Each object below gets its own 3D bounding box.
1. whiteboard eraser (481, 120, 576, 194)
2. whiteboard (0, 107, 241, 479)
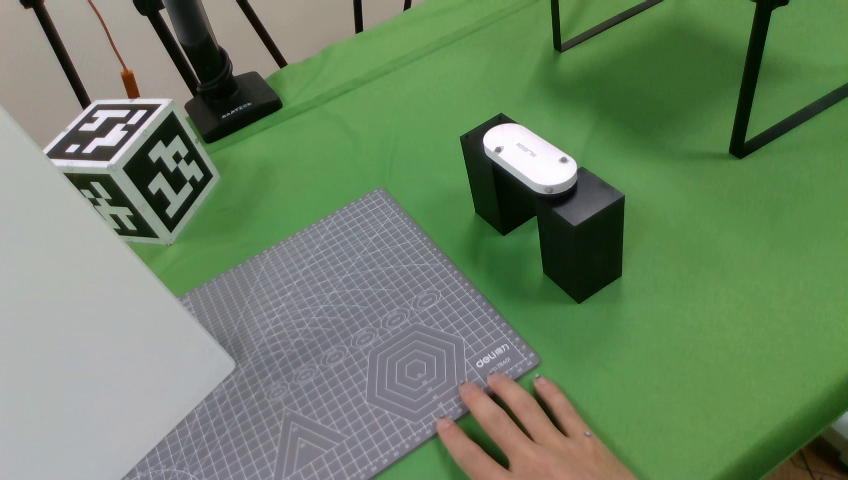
[{"bbox_3d":[0.087,-0.073,0.516,0.041,0.019,0.100,-31,48,-15],"label":"whiteboard eraser"},{"bbox_3d":[-0.348,0.065,0.494,0.142,0.308,0.217,11,50,50],"label":"whiteboard"}]
